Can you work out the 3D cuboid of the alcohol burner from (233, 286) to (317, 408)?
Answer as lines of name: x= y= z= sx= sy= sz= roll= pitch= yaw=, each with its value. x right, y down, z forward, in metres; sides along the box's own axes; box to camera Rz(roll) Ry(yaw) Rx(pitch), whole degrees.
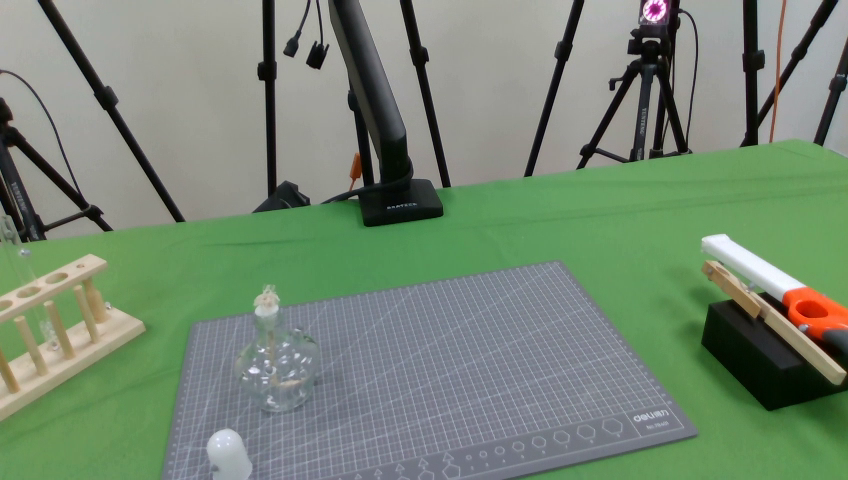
alcohol burner: x=-0.140 y=0.095 z=0.560 sx=0.078 sy=0.120 sz=0.077 roll=-3 pitch=28 yaw=2

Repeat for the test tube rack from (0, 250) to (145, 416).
test tube rack: x=-0.413 y=0.108 z=0.599 sx=0.066 sy=0.086 sz=0.242 roll=16 pitch=35 yaw=30

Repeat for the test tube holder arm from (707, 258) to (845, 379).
test tube holder arm: x=0.318 y=0.066 z=0.565 sx=0.013 sy=0.015 sz=0.176 roll=-4 pitch=29 yaw=-14

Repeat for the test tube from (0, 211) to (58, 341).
test tube: x=-0.403 y=0.040 z=0.616 sx=0.017 sy=0.151 sz=0.017 roll=-3 pitch=28 yaw=2

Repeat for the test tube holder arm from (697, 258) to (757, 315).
test tube holder arm: x=0.302 y=0.045 z=0.602 sx=0.010 sy=0.015 sz=0.087 roll=-4 pitch=29 yaw=-13

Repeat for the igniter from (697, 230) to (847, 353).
igniter: x=0.356 y=0.055 z=0.574 sx=0.057 sy=0.025 sz=0.274 roll=-10 pitch=27 yaw=-10

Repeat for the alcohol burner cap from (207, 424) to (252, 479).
alcohol burner cap: x=-0.163 y=0.173 z=0.499 sx=0.034 sy=0.048 sz=0.033 roll=-2 pitch=30 yaw=2
